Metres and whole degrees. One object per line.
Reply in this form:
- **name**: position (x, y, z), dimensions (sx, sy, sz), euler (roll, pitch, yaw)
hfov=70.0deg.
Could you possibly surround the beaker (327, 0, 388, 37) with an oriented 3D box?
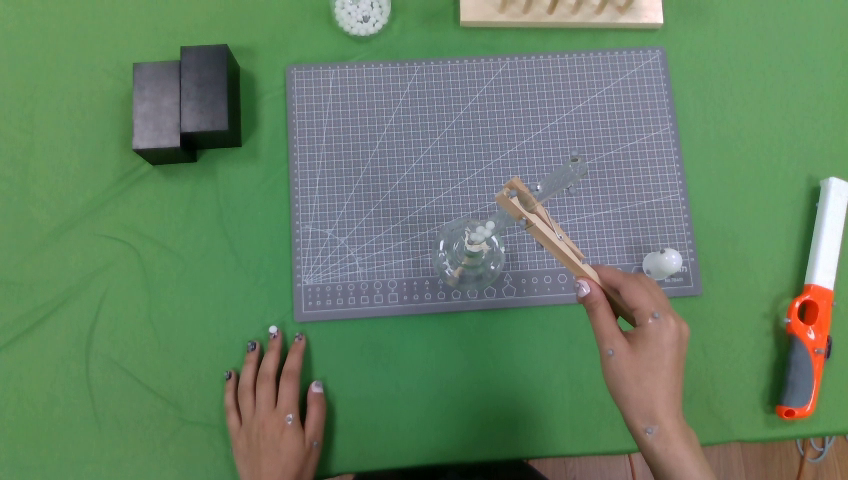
- **beaker**: position (-0.076, -0.280, 0.678), dimensions (0.074, 0.100, 0.083), euler (-1, 79, -2)

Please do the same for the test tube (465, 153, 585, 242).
- **test tube**: position (0.073, -0.028, 0.479), dimensions (0.017, 0.150, 0.017), euler (10, 66, -24)

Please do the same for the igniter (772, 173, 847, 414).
- **igniter**: position (0.427, 0.058, 0.668), dimensions (0.057, 0.025, 0.275), euler (19, 79, -8)

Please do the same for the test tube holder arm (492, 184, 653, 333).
- **test tube holder arm**: position (0.122, 0.019, 0.488), dimensions (0.179, 0.015, 0.013), euler (42, 58, -13)

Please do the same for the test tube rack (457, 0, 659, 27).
- **test tube rack**: position (0.161, -0.299, 0.696), dimensions (0.242, 0.085, 0.066), euler (0, 80, -2)

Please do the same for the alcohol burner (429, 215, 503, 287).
- **alcohol burner**: position (0.045, 0.008, 0.618), dimensions (0.078, 0.119, 0.077), euler (1, 78, -3)

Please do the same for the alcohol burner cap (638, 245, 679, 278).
- **alcohol burner cap**: position (0.257, 0.022, 0.659), dimensions (0.034, 0.048, 0.033), euler (0, 78, -2)

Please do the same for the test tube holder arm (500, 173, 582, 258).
- **test tube holder arm**: position (0.094, -0.016, 0.482), dimensions (0.088, 0.015, 0.010), euler (49, 56, -9)
